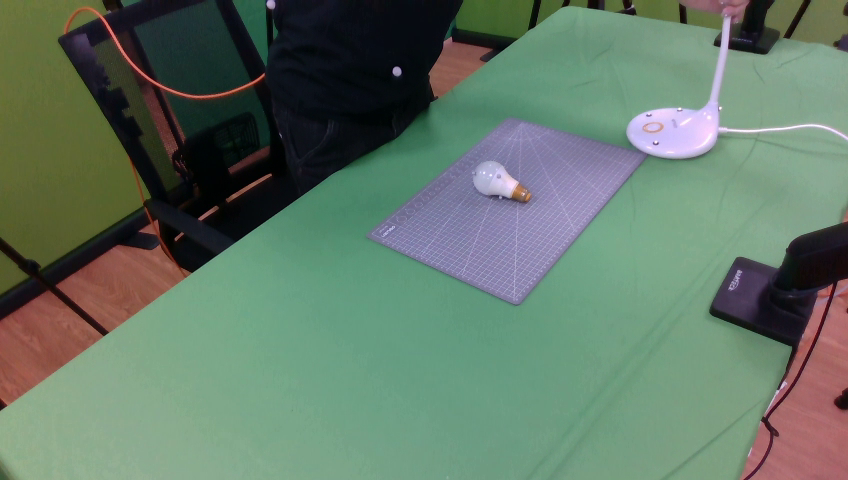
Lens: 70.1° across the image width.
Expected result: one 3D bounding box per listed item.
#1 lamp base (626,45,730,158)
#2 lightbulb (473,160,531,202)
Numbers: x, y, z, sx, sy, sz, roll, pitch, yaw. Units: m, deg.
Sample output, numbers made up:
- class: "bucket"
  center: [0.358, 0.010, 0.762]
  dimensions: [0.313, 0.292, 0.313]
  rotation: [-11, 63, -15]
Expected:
- class: "lamp base"
  center: [0.468, -0.261, 1.085]
  dimensions: [0.179, 0.181, 0.159]
  rotation: [-5, 41, -2]
- class: "lightbulb"
  center: [0.135, -0.097, 1.038]
  dimensions: [0.107, 0.059, 0.059]
  rotation: [29, 50, 15]
